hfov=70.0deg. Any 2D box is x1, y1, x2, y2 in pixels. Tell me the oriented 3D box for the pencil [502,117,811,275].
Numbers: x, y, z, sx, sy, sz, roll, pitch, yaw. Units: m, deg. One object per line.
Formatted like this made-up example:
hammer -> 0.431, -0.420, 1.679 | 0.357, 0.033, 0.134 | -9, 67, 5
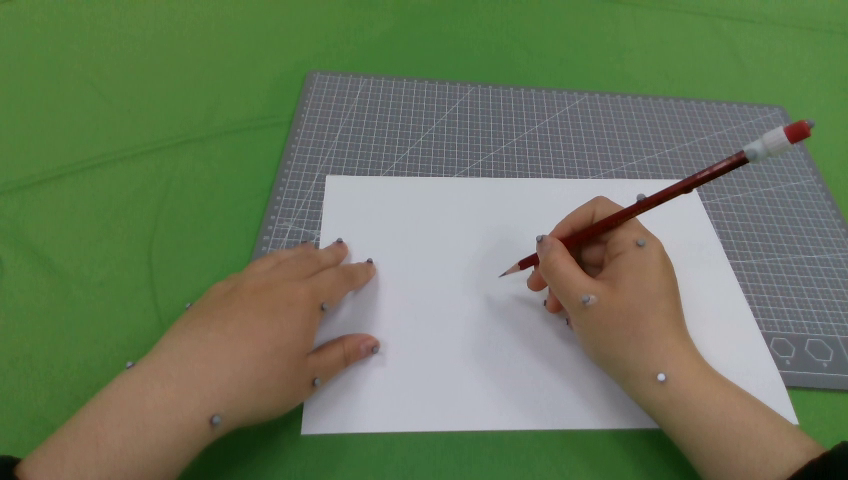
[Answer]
pencil -> 0.116, -0.016, 0.344 | 0.012, 0.194, 0.012 | 25, 50, -34
